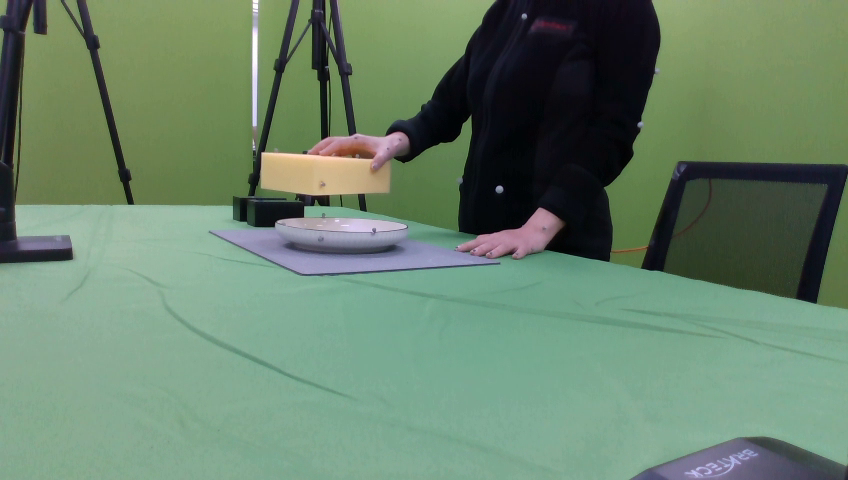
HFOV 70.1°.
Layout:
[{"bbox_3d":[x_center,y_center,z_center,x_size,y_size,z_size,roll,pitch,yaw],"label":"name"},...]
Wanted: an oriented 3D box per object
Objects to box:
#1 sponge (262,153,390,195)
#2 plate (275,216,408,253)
[{"bbox_3d":[-0.164,-0.116,1.048,0.118,0.061,0.208,9,10,30],"label":"sponge"},{"bbox_3d":[-0.129,-0.009,0.954,0.209,0.038,0.209,2,7,0],"label":"plate"}]
